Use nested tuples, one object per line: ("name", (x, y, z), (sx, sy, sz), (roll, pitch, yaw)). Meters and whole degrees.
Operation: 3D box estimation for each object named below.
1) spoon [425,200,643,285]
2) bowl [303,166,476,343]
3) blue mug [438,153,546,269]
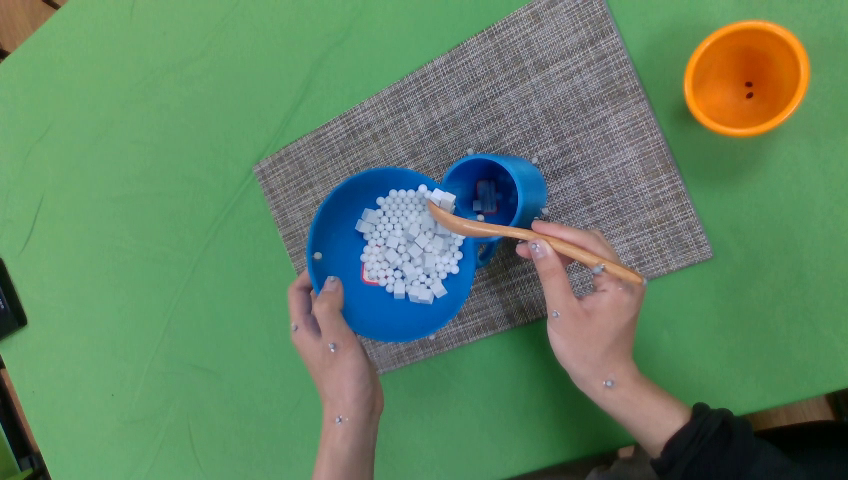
("spoon", (0.075, -0.001, 0.468), (0.192, 0.042, 0.021), (16, 76, 35))
("bowl", (-0.038, 0.017, 0.541), (0.076, 0.152, 0.151), (-19, 90, 67))
("blue mug", (0.065, -0.027, 0.598), (0.082, 0.106, 0.117), (17, 103, 20))
